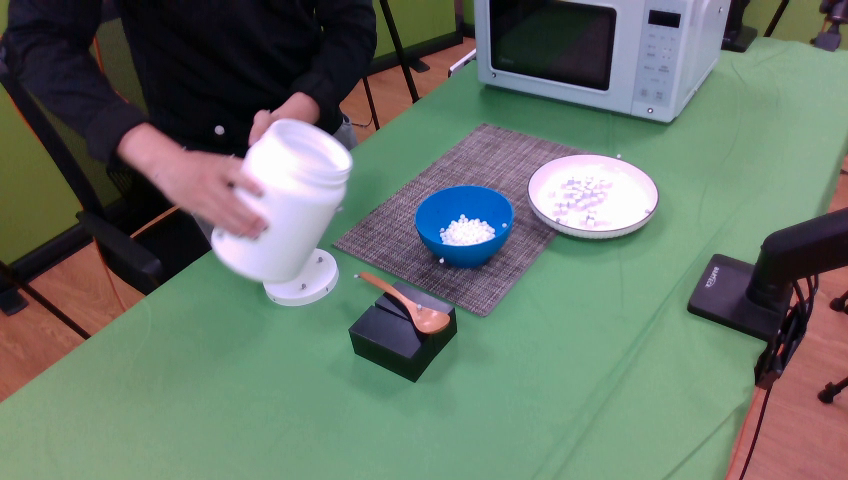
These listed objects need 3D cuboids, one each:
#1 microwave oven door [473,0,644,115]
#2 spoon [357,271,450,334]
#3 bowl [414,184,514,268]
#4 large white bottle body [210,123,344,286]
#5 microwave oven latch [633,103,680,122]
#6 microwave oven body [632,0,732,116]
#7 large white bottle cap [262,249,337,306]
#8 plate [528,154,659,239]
[{"bbox_3d":[0.257,-0.396,1.199,0.353,0.245,0.039,21,48,29],"label":"microwave oven door"},{"bbox_3d":[-0.034,0.078,0.812,0.042,0.022,0.192,-35,42,-24],"label":"spoon"},{"bbox_3d":[0.063,-0.011,0.922,0.151,0.077,0.150,-4,40,4],"label":"bowl"},{"bbox_3d":[-0.190,-0.046,0.791,0.131,0.184,0.130,24,28,-13],"label":"large white bottle body"},{"bbox_3d":[0.443,-0.249,1.157,0.078,0.029,0.030,20,48,30],"label":"microwave oven latch"},{"bbox_3d":[0.377,-0.462,1.267,0.438,0.261,0.327,21,49,30],"label":"microwave oven body"},{"bbox_3d":[-0.193,0.056,0.934,0.115,0.018,0.114,-4,40,4],"label":"large white bottle cap"},{"bbox_3d":[0.274,-0.069,0.993,0.209,0.038,0.208,-2,42,2],"label":"plate"}]
